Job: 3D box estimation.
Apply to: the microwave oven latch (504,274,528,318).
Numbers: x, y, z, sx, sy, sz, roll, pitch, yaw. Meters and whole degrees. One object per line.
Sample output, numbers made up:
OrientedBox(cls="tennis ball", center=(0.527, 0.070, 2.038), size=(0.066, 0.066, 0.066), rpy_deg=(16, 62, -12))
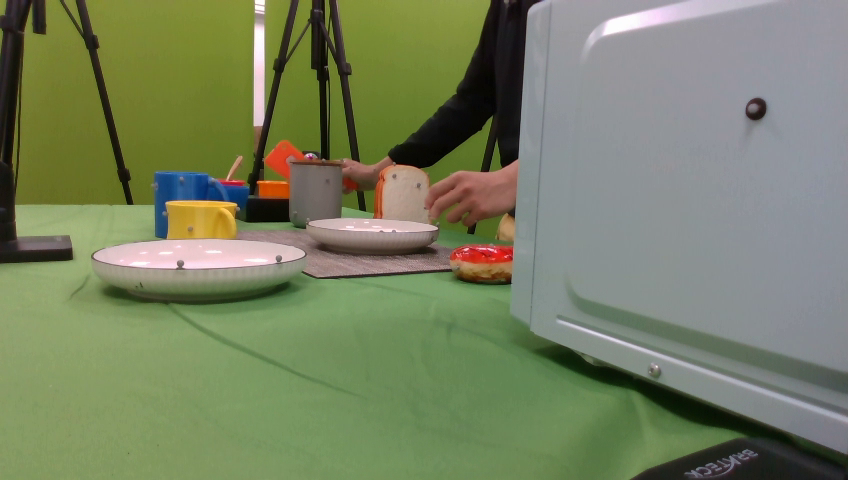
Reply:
OrientedBox(cls="microwave oven latch", center=(0.100, 0.041, 0.471), size=(0.079, 0.029, 0.030), rpy_deg=(-1, 8, -28))

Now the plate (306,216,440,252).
OrientedBox(cls="plate", center=(-0.079, -0.011, 0.950), size=(0.209, 0.038, 0.209), rpy_deg=(2, 8, 0))

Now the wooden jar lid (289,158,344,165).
OrientedBox(cls="wooden jar lid", center=(-0.215, -0.153, 1.212), size=(0.108, 0.020, 0.108), rpy_deg=(2, 5, 0))

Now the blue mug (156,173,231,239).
OrientedBox(cls="blue mug", center=(-0.381, -0.057, 1.004), size=(0.117, 0.106, 0.082), rpy_deg=(0, 8, -12))

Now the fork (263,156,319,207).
OrientedBox(cls="fork", center=(-0.331, -0.143, 1.505), size=(0.207, 0.018, 0.028), rpy_deg=(-42, -20, 22))

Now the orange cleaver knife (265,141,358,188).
OrientedBox(cls="orange cleaver knife", center=(-0.252, -0.152, 1.369), size=(0.212, 0.077, 0.012), rpy_deg=(25, -2, -22))

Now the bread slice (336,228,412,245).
OrientedBox(cls="bread slice", center=(-0.073, -0.006, 0.938), size=(0.105, 0.019, 0.131), rpy_deg=(-2, 5, -18))

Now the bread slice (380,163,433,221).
OrientedBox(cls="bread slice", center=(-0.035, -0.076, 1.123), size=(0.107, 0.134, 0.018), rpy_deg=(-3, 1, -26))

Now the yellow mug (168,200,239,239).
OrientedBox(cls="yellow mug", center=(-0.320, -0.023, 0.904), size=(0.130, 0.064, 0.100), rpy_deg=(9, 11, 36))

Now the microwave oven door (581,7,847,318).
OrientedBox(cls="microwave oven door", center=(0.295, -0.067, 0.570), size=(0.358, 0.243, 0.039), rpy_deg=(-3, 8, -31))

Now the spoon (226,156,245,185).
OrientedBox(cls="spoon", center=(-0.477, -0.145, 1.492), size=(0.041, 0.022, 0.193), rpy_deg=(0, 51, 12))

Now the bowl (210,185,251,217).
OrientedBox(cls="bowl", center=(-0.408, -0.064, 1.155), size=(0.151, 0.077, 0.151), rpy_deg=(2, 8, 0))

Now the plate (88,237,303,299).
OrientedBox(cls="plate", center=(-0.233, 0.029, 0.637), size=(0.208, 0.039, 0.207), rpy_deg=(2, 7, 0))

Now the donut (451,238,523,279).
OrientedBox(cls="donut", center=(0.082, 0.022, 0.745), size=(0.099, 0.048, 0.099), rpy_deg=(1, 5, 0))

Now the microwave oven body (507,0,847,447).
OrientedBox(cls="microwave oven body", center=(0.331, -0.042, 0.425), size=(0.444, 0.260, 0.324), rpy_deg=(-2, 8, -31))

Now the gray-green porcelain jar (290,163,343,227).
OrientedBox(cls="gray-green porcelain jar", center=(-0.217, -0.091, 1.221), size=(0.106, 0.126, 0.106), rpy_deg=(2, 7, 0))
